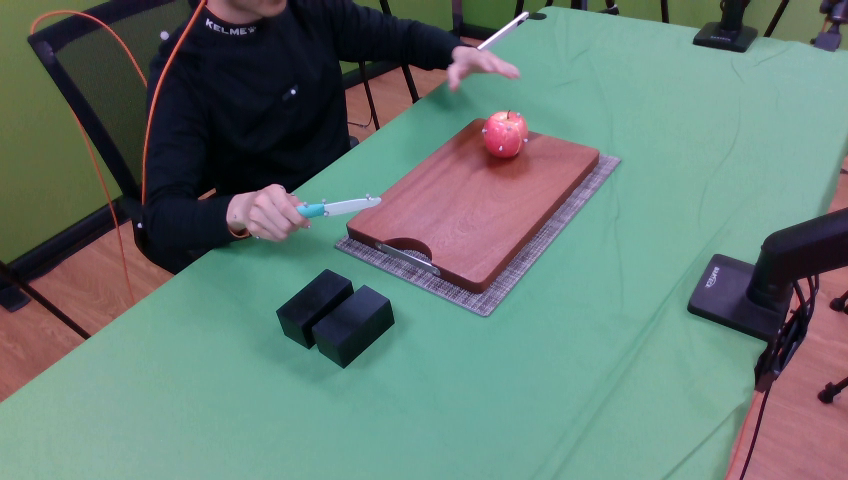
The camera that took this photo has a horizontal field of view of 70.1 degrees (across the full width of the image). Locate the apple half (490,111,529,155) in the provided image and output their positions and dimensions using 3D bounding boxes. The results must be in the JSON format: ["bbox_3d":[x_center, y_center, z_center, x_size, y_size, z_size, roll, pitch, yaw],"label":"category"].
[{"bbox_3d":[0.156,-0.197,1.092,0.080,0.075,0.053,21,44,34],"label":"apple half"}]

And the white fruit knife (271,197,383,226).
[{"bbox_3d":[-0.138,-0.041,0.826,0.206,0.027,0.016,-8,50,33],"label":"white fruit knife"}]

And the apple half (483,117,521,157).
[{"bbox_3d":[0.131,-0.175,1.069,0.080,0.081,0.033,24,48,32],"label":"apple half"}]
